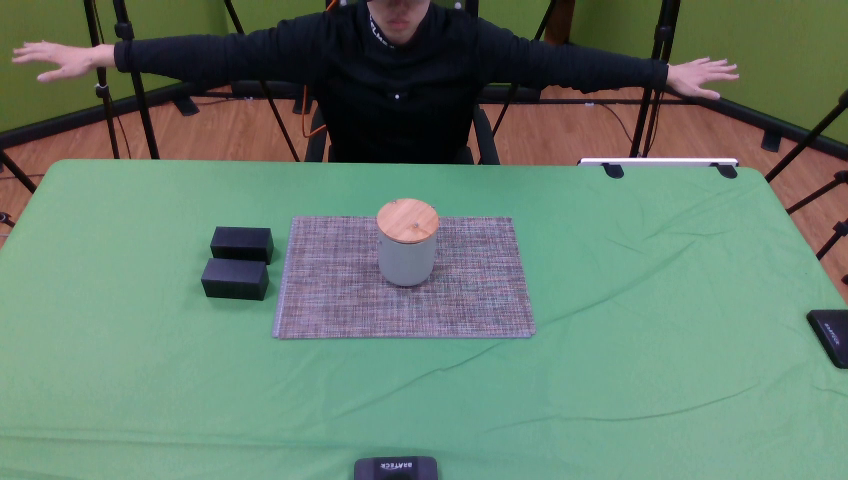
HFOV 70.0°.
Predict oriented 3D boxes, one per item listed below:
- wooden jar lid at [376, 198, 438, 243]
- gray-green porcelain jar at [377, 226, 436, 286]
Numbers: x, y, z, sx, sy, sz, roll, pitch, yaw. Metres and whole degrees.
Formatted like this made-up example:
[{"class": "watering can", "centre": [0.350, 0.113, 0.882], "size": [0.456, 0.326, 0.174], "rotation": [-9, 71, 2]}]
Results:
[{"class": "wooden jar lid", "centre": [-0.029, -0.031, 1.059], "size": [0.108, 0.021, 0.107], "rotation": [2, 45, -2]}, {"class": "gray-green porcelain jar", "centre": [-0.033, 0.014, 1.106], "size": [0.106, 0.127, 0.105], "rotation": [2, 46, -2]}]
